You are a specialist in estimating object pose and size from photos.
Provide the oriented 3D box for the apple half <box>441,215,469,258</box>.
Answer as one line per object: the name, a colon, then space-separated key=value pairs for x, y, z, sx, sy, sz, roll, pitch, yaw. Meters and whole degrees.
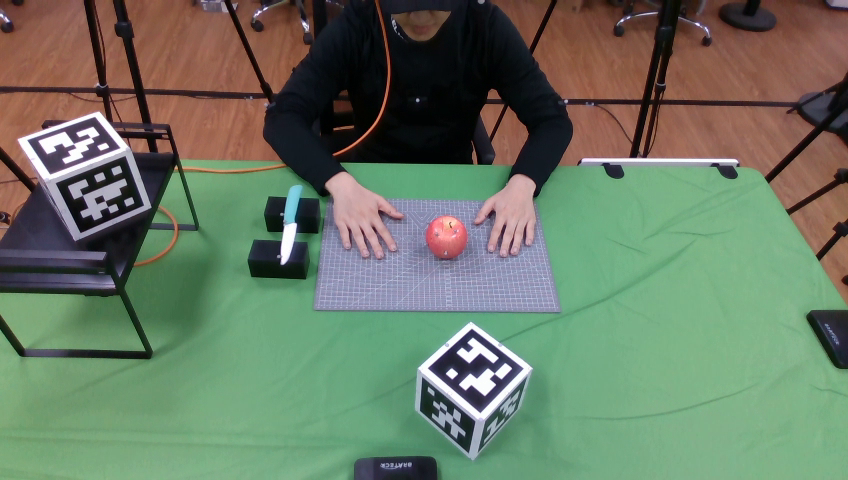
apple half: x=0.058 y=-0.004 z=1.162 sx=0.053 sy=0.075 sz=0.080 roll=3 pitch=41 yaw=-6

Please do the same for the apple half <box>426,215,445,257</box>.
apple half: x=0.019 y=-0.006 z=1.158 sx=0.033 sy=0.081 sz=0.081 roll=3 pitch=46 yaw=-7

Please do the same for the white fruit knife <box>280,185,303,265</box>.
white fruit knife: x=-0.253 y=-0.032 z=1.143 sx=0.027 sy=0.016 sz=0.206 roll=7 pitch=46 yaw=-9
